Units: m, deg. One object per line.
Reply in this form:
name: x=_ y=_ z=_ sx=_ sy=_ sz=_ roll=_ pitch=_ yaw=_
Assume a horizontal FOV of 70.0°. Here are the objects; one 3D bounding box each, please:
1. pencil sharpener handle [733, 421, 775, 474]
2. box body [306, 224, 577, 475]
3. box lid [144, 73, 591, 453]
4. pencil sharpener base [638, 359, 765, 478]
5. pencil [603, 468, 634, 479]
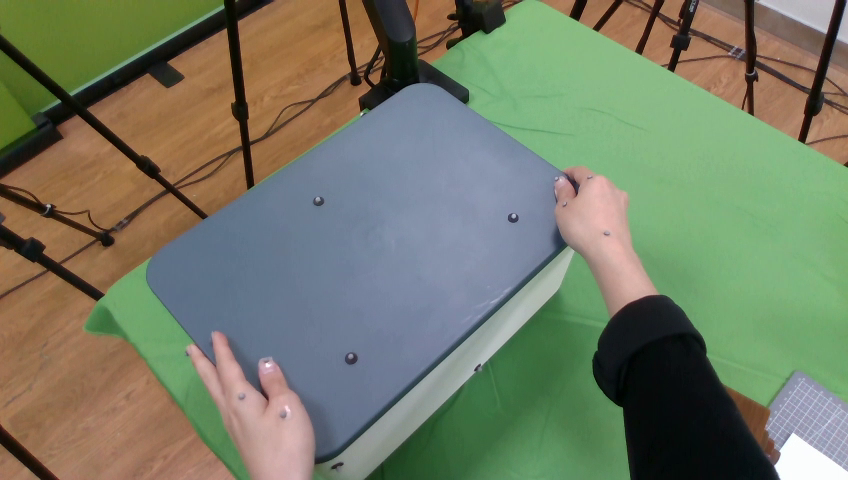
pencil sharpener handle: x=0.302 y=0.188 z=0.545 sx=0.030 sy=0.068 sz=0.036 roll=28 pitch=56 yaw=18
box body: x=-0.043 y=0.030 z=0.637 sx=0.364 sy=0.162 sz=0.252 roll=-40 pitch=64 yaw=-21
box lid: x=-0.044 y=-0.013 z=0.575 sx=0.371 sy=0.015 sz=0.261 roll=-40 pitch=65 yaw=-22
pencil sharpener base: x=0.260 y=0.171 z=0.571 sx=0.076 sy=0.108 sz=0.061 roll=28 pitch=61 yaw=18
pencil: x=0.119 y=0.259 z=0.578 sx=0.194 sy=0.012 sz=0.012 roll=-20 pitch=58 yaw=-13
